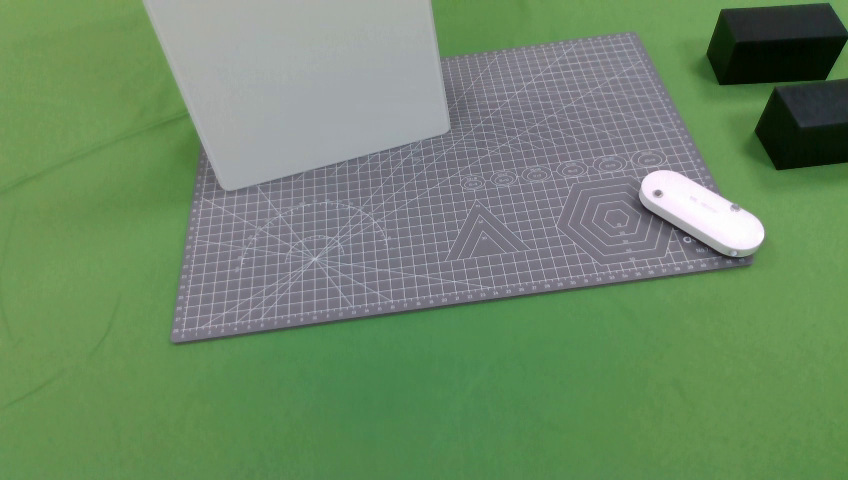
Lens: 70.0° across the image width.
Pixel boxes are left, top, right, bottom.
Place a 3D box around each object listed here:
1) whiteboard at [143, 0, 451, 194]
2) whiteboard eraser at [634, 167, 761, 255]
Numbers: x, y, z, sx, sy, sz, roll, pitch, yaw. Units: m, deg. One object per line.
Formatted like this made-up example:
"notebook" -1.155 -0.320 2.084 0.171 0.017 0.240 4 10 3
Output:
"whiteboard" -0.118 -0.230 0.522 0.217 0.308 0.142 -16 35 -6
"whiteboard eraser" 0.217 -0.024 0.484 0.041 0.019 0.100 -39 59 -21
